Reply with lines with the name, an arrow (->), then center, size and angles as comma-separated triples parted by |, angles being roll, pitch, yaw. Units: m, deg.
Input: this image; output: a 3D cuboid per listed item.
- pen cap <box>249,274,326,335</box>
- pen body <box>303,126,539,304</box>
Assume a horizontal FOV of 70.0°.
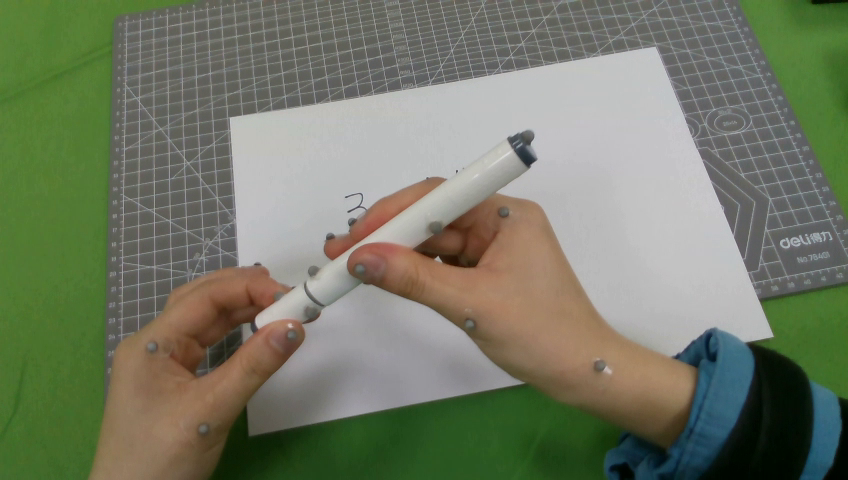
pen cap -> -0.063, 0.031, 0.281 | 0.038, 0.017, 0.017 | -31, 66, 21
pen body -> -0.014, -0.001, 0.258 | 0.144, 0.017, 0.017 | -34, 66, 22
